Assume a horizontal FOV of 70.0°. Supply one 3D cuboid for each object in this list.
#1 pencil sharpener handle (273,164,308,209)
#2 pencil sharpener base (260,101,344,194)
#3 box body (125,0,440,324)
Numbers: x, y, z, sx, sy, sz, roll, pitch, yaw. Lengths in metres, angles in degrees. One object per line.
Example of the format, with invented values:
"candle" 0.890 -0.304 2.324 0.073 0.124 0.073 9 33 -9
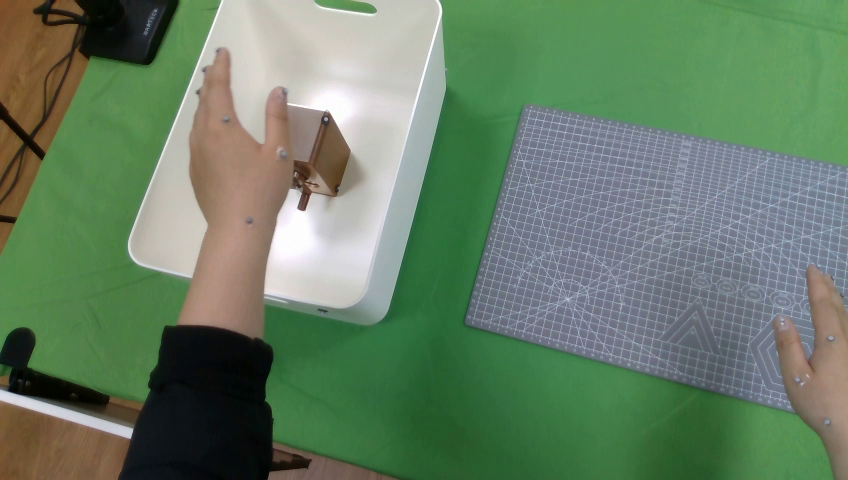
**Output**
"pencil sharpener handle" -0.155 -0.061 0.707 0.036 0.068 0.030 9 75 18
"pencil sharpener base" -0.145 -0.106 0.731 0.061 0.108 0.076 12 75 9
"box body" -0.137 -0.101 0.707 0.253 0.161 0.362 11 75 9
